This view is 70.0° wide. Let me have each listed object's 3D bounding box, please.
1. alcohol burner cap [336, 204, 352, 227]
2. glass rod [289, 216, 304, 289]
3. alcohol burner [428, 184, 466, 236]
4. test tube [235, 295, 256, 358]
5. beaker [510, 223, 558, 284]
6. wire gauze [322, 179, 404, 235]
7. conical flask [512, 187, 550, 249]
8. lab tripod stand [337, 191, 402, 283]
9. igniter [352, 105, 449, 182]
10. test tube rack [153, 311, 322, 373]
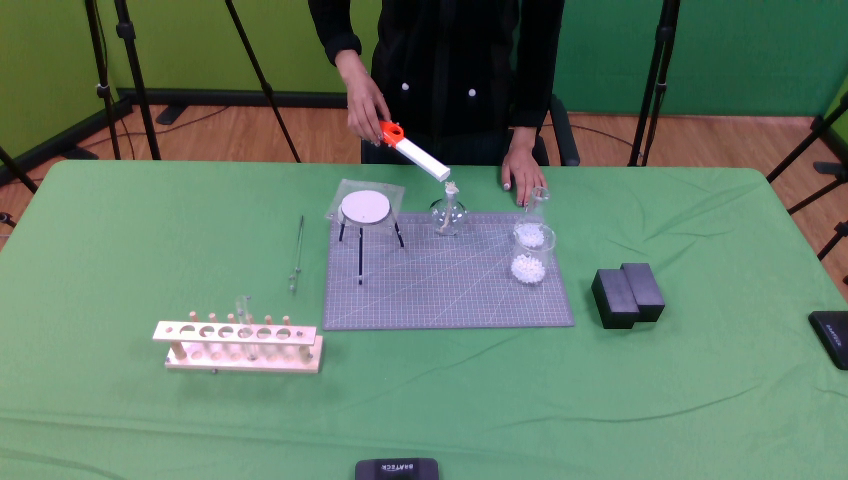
[{"bbox_3d":[-0.162,-0.053,1.220,0.034,0.048,0.033,2,46,-2],"label":"alcohol burner cap"},{"bbox_3d":[-0.246,0.020,1.171,0.008,0.008,0.198,1,43,-3],"label":"glass rod"},{"bbox_3d":[0.047,-0.066,1.200,0.078,0.119,0.077,4,45,-3],"label":"alcohol burner"},{"bbox_3d":[-0.274,0.136,0.933,0.017,0.151,0.017,4,45,-4],"label":"test tube"},{"bbox_3d":[0.199,0.027,1.132,0.083,0.101,0.074,27,50,21],"label":"beaker"},{"bbox_3d":[-0.106,-0.064,1.078,0.125,0.011,0.121,11,45,5],"label":"wire gauze"},{"bbox_3d":[0.217,-0.048,1.190,0.075,0.122,0.075,2,46,-2],"label":"conical flask"},{"bbox_3d":[-0.106,-0.016,1.125,0.148,0.132,0.147,3,44,-2],"label":"lab tripod stand"},{"bbox_3d":[-0.055,-0.201,1.230,0.057,0.025,0.275,-37,60,-24],"label":"igniter"},{"bbox_3d":[-0.293,0.160,0.977,0.242,0.085,0.066,3,46,-2],"label":"test tube rack"}]
